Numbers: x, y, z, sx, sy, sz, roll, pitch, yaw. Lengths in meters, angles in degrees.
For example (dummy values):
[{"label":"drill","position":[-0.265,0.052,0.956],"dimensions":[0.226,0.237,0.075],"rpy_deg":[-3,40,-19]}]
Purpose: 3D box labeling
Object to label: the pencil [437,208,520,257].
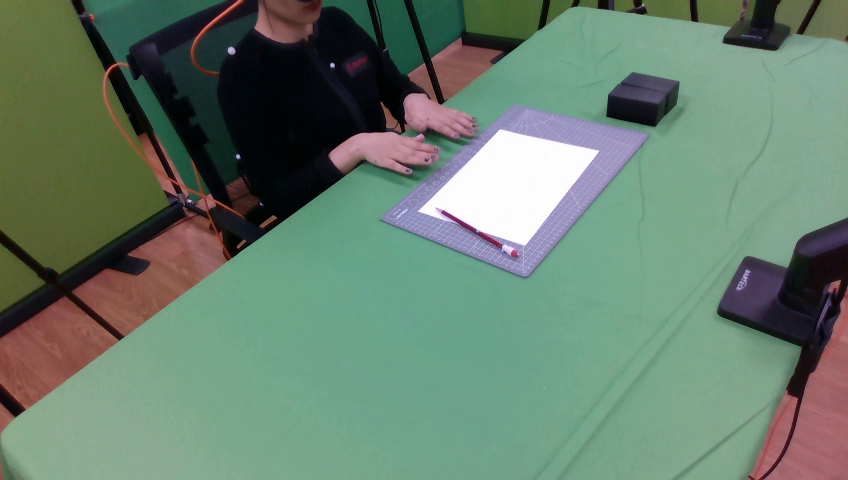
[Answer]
[{"label":"pencil","position":[0.083,-0.016,0.990],"dimensions":[0.012,0.012,0.192],"rpy_deg":[-34,45,-25]}]
